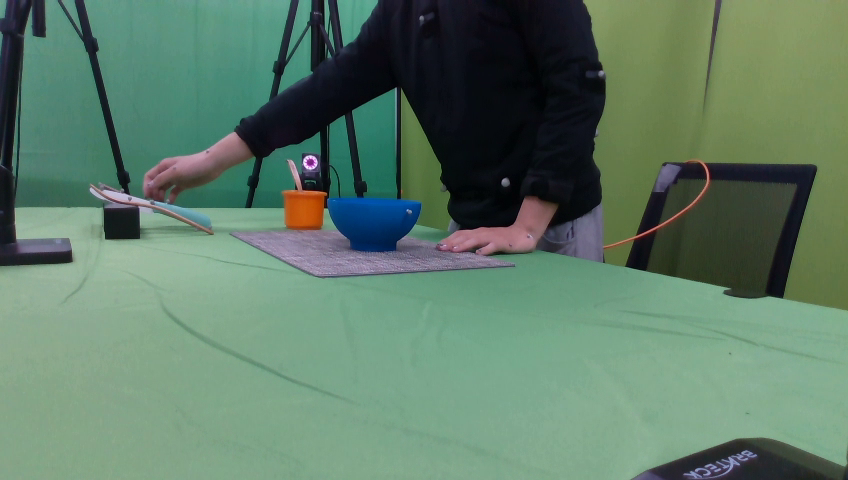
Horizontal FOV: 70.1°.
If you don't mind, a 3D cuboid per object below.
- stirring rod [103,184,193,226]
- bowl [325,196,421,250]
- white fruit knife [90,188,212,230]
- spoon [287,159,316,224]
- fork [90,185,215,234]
[{"bbox_3d":[-0.507,-0.063,1.129,0.177,0.006,0.014,27,1,-31],"label":"stirring rod"},{"bbox_3d":[-0.080,-0.027,0.957,0.151,0.077,0.151,2,7,0],"label":"bowl"},{"bbox_3d":[-0.478,-0.058,1.073,0.208,0.027,0.016,17,-5,-29],"label":"white fruit knife"},{"bbox_3d":[-0.261,-0.104,1.263,0.042,0.021,0.193,-1,53,-28],"label":"spoon"},{"bbox_3d":[-0.452,-0.049,1.018,0.208,0.018,0.028,21,-7,-33],"label":"fork"}]
